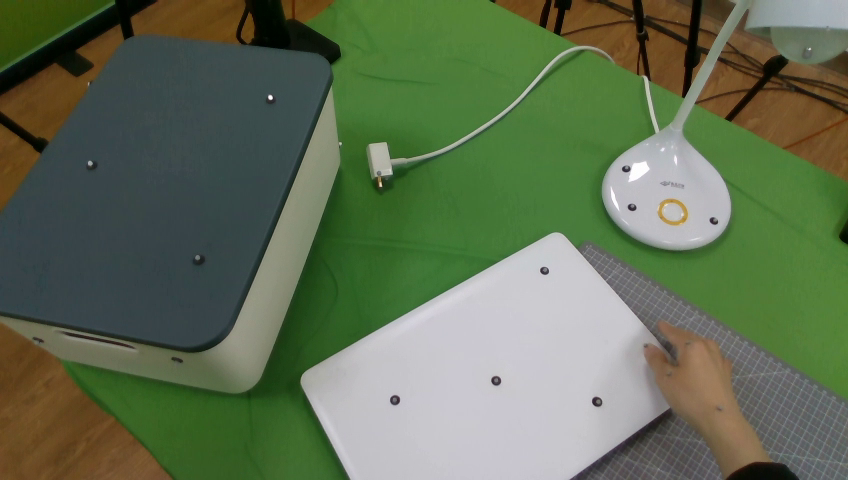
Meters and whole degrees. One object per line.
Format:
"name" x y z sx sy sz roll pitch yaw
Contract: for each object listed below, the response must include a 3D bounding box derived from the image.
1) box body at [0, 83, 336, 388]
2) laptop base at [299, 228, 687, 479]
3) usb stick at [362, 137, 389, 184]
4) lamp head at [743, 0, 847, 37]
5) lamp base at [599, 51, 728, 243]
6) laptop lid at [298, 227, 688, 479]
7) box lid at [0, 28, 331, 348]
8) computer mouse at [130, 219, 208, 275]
"box body" -0.264 -0.039 0.677 0.254 0.162 0.361 10 58 6
"laptop base" 0.073 0.148 0.648 0.354 0.023 0.233 -28 65 -16
"usb stick" -0.062 -0.103 0.792 0.027 0.021 0.059 -6 88 -22
"lamp head" 0.308 -0.215 0.448 0.112 0.112 0.123 7 102 4
"lamp base" 0.304 -0.116 0.716 0.161 0.182 0.177 0 55 0
"laptop lid" 0.074 0.143 0.637 0.357 0.013 0.239 -27 64 -15
"box lid" -0.263 -0.080 0.615 0.263 0.015 0.368 9 59 6
"computer mouse" -0.298 0.000 0.711 0.063 0.041 0.116 -17 19 1
